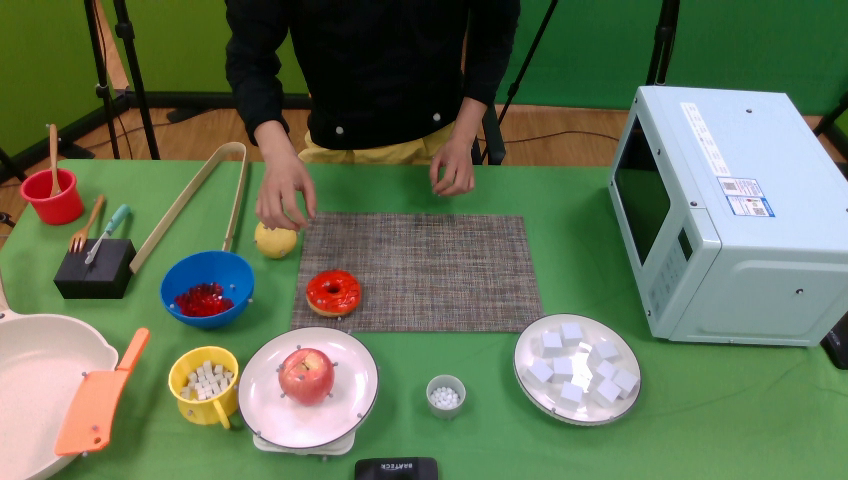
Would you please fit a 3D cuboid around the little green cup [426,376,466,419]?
[{"bbox_3d":[0.033,0.248,0.950,0.061,0.039,0.061,2,46,-2],"label":"little green cup"}]

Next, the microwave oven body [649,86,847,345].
[{"bbox_3d":[0.567,-0.053,1.118,0.326,0.261,0.439,2,45,-1],"label":"microwave oven body"}]

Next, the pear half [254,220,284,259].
[{"bbox_3d":[-0.294,0.003,1.127,0.070,0.088,0.031,25,49,16],"label":"pear half"}]

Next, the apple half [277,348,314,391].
[{"bbox_3d":[-0.195,0.192,0.909,0.032,0.081,0.081,33,53,22],"label":"apple half"}]

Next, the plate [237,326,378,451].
[{"bbox_3d":[-0.174,0.224,0.917,0.209,0.038,0.208,2,46,-2],"label":"plate"}]

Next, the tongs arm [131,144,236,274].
[{"bbox_3d":[-0.483,-0.078,1.235,0.028,0.028,0.385,6,45,13],"label":"tongs arm"}]

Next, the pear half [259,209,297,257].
[{"bbox_3d":[-0.273,-0.024,1.141,0.076,0.110,0.056,27,50,16],"label":"pear half"}]

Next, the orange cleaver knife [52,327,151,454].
[{"bbox_3d":[-0.462,0.212,0.879,0.077,0.012,0.210,7,45,-2],"label":"orange cleaver knife"}]

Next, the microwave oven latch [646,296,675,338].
[{"bbox_3d":[0.412,0.134,1.061,0.030,0.029,0.078,4,45,1],"label":"microwave oven latch"}]

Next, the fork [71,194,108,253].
[{"bbox_3d":[-0.634,-0.036,1.158,0.028,0.019,0.206,-8,31,-8],"label":"fork"}]

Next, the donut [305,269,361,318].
[{"bbox_3d":[-0.160,0.094,1.075,0.099,0.048,0.098,4,45,-3],"label":"donut"}]

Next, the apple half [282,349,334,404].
[{"bbox_3d":[-0.163,0.210,0.895,0.053,0.075,0.081,33,50,22],"label":"apple half"}]

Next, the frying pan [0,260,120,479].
[{"bbox_3d":[-0.647,0.164,0.936,0.307,0.103,0.485,-19,58,-22],"label":"frying pan"}]

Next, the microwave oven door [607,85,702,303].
[{"bbox_3d":[0.423,-0.094,1.140,0.039,0.245,0.353,2,46,-1],"label":"microwave oven door"}]

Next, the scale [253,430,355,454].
[{"bbox_3d":[-0.175,0.236,0.951,0.149,0.032,0.199,4,45,0],"label":"scale"}]

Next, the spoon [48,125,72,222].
[{"bbox_3d":[-0.718,-0.131,1.189,0.041,0.021,0.193,-4,90,-7],"label":"spoon"}]

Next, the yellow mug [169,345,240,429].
[{"bbox_3d":[-0.323,0.230,0.922,0.100,0.064,0.130,-24,53,-25],"label":"yellow mug"}]

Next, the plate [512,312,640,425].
[{"bbox_3d":[0.246,0.213,0.999,0.208,0.039,0.206,2,46,-2],"label":"plate"}]

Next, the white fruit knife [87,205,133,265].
[{"bbox_3d":[-0.584,-0.013,1.129,0.016,0.027,0.206,-1,32,-4],"label":"white fruit knife"}]

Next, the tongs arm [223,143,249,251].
[{"bbox_3d":[-0.397,-0.073,1.232,0.051,0.026,0.382,-2,45,0],"label":"tongs arm"}]

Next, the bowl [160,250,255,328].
[{"bbox_3d":[-0.362,0.098,1.040,0.151,0.077,0.150,2,45,-2],"label":"bowl"}]
